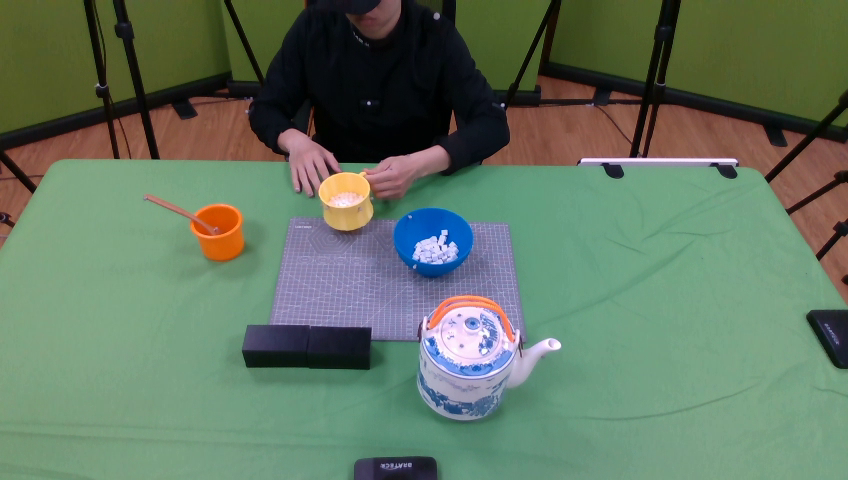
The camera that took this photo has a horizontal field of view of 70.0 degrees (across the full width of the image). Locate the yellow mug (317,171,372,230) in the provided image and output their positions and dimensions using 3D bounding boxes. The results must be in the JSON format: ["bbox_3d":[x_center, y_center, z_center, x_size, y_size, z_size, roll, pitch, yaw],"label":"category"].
[{"bbox_3d":[-0.147,-0.088,1.196,0.099,0.064,0.130,21,52,19],"label":"yellow mug"}]

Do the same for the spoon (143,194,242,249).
[{"bbox_3d":[-0.421,-0.036,1.112,0.021,0.195,0.041,-35,38,24],"label":"spoon"}]

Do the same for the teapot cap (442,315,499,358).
[{"bbox_3d":[0.068,0.133,0.880,0.085,0.044,0.084,4,45,-4],"label":"teapot cap"}]

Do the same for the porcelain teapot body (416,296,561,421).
[{"bbox_3d":[0.094,0.164,0.907,0.205,0.226,0.144,6,45,1],"label":"porcelain teapot body"}]

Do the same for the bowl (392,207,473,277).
[{"bbox_3d":[0.014,0.016,1.140,0.151,0.077,0.150,2,46,-2],"label":"bowl"}]
